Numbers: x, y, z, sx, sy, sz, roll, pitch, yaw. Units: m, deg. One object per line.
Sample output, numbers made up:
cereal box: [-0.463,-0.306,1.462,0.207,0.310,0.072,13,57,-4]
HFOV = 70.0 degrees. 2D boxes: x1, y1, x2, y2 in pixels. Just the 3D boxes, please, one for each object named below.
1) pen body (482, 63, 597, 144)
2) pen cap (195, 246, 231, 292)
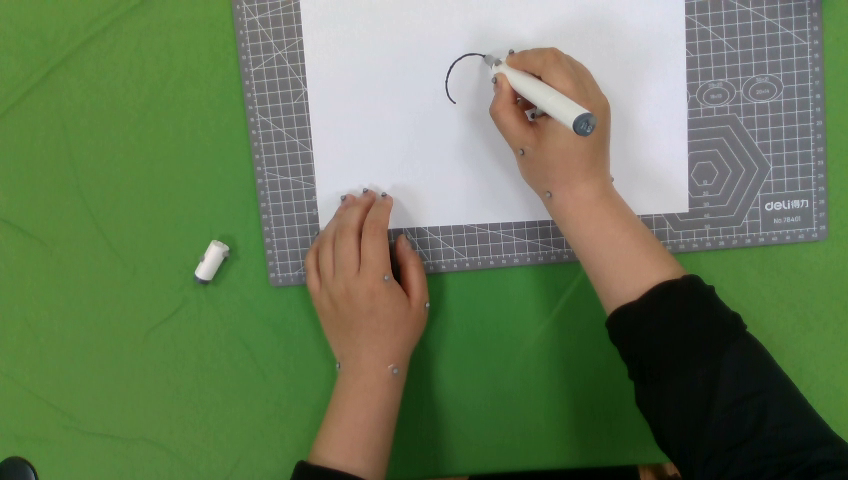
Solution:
pen body: [0.074,-0.101,0.424,0.017,0.142,0.017,-14,127,-18]
pen cap: [-0.180,0.026,0.514,0.017,0.017,0.038,33,98,2]
